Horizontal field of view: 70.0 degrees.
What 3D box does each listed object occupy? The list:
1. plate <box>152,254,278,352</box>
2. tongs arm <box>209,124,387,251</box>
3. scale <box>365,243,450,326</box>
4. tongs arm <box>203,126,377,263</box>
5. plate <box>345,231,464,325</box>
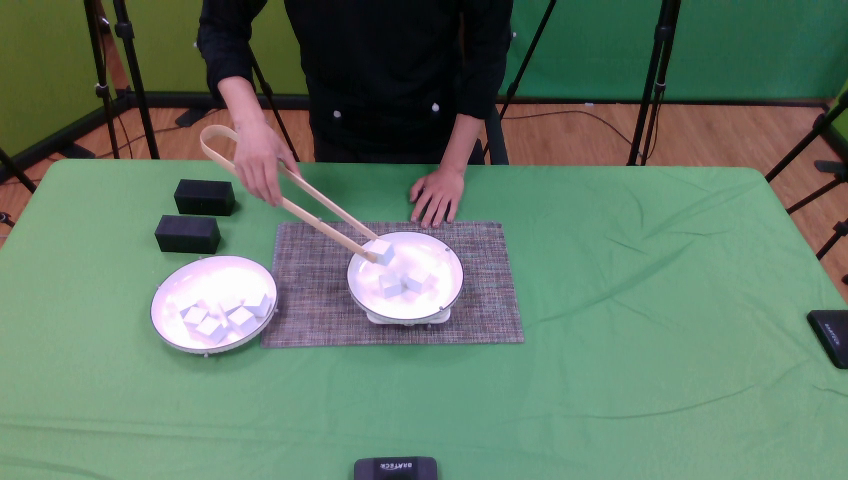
[{"bbox_3d":[-0.357,0.111,1.052,0.208,0.039,0.206,2,46,-2],"label":"plate"},{"bbox_3d":[-0.222,-0.096,1.068,0.387,0.028,0.028,35,64,8],"label":"tongs arm"},{"bbox_3d":[-0.032,0.071,1.113,0.149,0.032,0.199,0,46,-4],"label":"scale"},{"bbox_3d":[-0.235,-0.081,1.057,0.384,0.026,0.050,31,60,5],"label":"tongs arm"},{"bbox_3d":[-0.034,0.069,1.069,0.209,0.038,0.208,2,46,-2],"label":"plate"}]
